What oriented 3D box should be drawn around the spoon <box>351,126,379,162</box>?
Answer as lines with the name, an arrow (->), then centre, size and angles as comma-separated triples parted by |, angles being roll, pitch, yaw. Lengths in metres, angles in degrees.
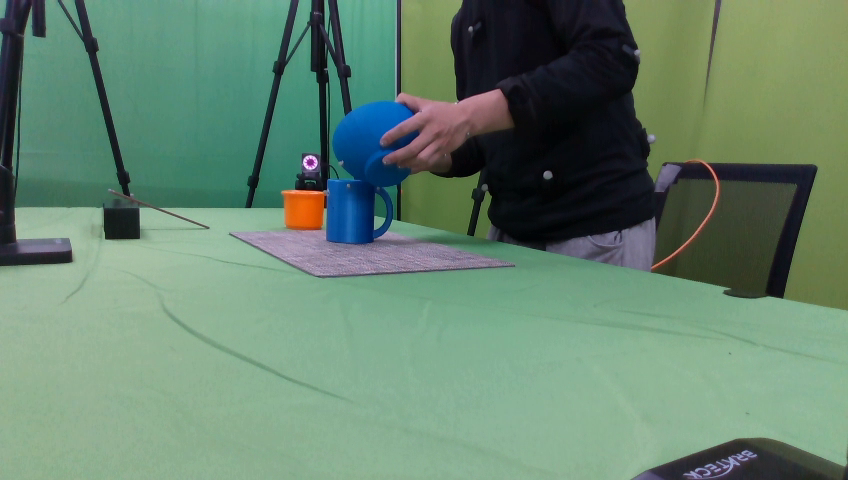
spoon -> -0.101, -0.177, 1.071 | 0.021, 0.042, 0.193 | -24, 19, 12

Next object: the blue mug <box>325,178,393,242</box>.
blue mug -> -0.111, -0.052, 1.034 | 0.116, 0.106, 0.082 | 3, 7, 7

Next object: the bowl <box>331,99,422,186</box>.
bowl -> -0.066, -0.139, 0.958 | 0.152, 0.151, 0.076 | -1, 51, -26

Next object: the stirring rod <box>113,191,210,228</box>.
stirring rod -> -0.484, -0.055, 1.121 | 0.177, 0.006, 0.014 | 22, -6, -22
